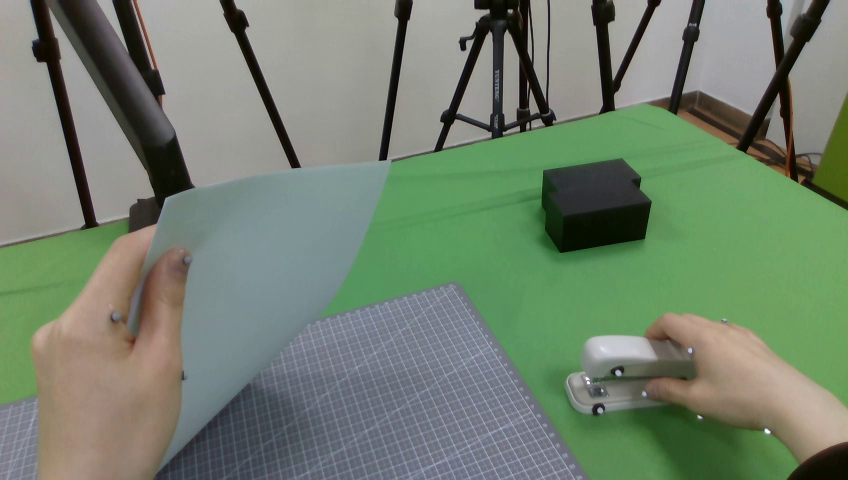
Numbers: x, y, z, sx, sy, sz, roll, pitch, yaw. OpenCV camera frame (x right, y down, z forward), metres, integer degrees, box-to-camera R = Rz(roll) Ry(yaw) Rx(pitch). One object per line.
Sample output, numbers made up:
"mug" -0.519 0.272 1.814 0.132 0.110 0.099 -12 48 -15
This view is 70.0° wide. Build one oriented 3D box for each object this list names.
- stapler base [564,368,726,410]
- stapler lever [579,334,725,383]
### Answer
"stapler base" 0.184 0.112 0.504 0.131 0.024 0.041 -5 39 -6
"stapler lever" 0.185 0.093 0.490 0.118 0.040 0.026 -6 39 -5
